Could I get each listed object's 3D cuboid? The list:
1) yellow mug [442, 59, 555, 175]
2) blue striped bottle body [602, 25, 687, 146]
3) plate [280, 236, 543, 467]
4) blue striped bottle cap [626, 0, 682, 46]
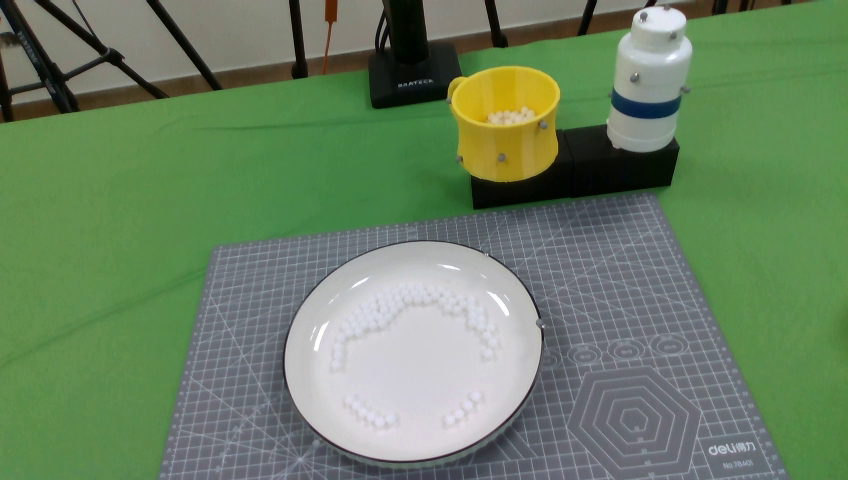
[{"bbox_3d":[0.063,-0.126,0.587,0.100,0.064,0.129,-37,52,-24],"label":"yellow mug"},{"bbox_3d":[0.200,-0.151,0.551,0.063,0.122,0.062,-4,48,5],"label":"blue striped bottle body"},{"bbox_3d":[-0.009,0.085,0.489,0.207,0.039,0.205,-4,47,5],"label":"plate"},{"bbox_3d":[0.195,-0.185,0.513,0.044,0.021,0.044,-6,46,7],"label":"blue striped bottle cap"}]
